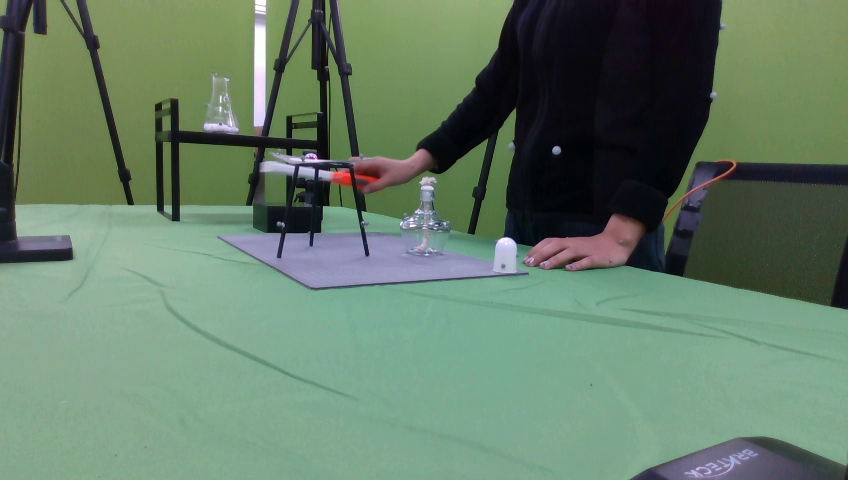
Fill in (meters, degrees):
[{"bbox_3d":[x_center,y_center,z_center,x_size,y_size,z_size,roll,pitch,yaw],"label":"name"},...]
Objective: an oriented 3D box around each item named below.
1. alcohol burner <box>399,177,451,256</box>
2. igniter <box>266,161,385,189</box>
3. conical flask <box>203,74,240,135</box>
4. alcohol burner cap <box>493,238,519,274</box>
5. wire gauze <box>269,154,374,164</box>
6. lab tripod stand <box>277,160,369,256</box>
[{"bbox_3d":[0.003,-0.035,0.908,0.078,0.119,0.078,4,8,0],"label":"alcohol burner"},{"bbox_3d":[-0.169,-0.119,1.122,0.057,0.025,0.278,4,1,39],"label":"igniter"},{"bbox_3d":[-0.425,-0.284,1.271,0.075,0.122,0.075,3,7,0],"label":"conical flask"},{"bbox_3d":[0.107,0.021,0.785,0.034,0.048,0.034,1,7,0],"label":"alcohol burner cap"},{"bbox_3d":[-0.146,-0.114,0.860,0.122,0.011,0.124,-2,9,-28],"label":"wire gauze"},{"bbox_3d":[-0.150,-0.046,0.861,0.148,0.131,0.148,3,9,0],"label":"lab tripod stand"}]
